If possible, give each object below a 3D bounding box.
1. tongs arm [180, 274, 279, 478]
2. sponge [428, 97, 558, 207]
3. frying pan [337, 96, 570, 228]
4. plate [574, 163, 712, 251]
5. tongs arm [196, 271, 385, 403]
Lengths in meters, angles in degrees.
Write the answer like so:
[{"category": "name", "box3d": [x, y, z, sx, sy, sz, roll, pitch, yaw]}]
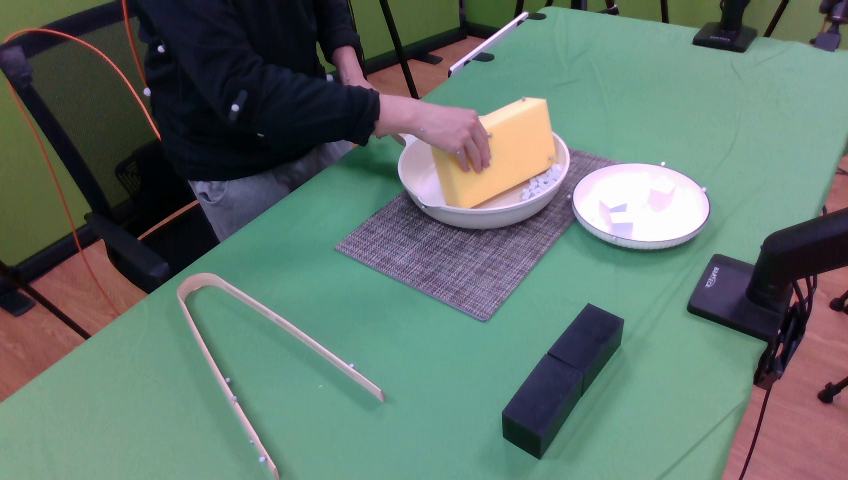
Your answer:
[{"category": "tongs arm", "box3d": [-0.259, 0.161, 0.807, 0.051, 0.026, 0.381, -28, 44, -25]}, {"category": "sponge", "box3d": [0.121, -0.148, 1.023, 0.207, 0.119, 0.060, -28, 27, -19]}, {"category": "frying pan", "box3d": [0.023, -0.167, 1.090, 0.484, 0.103, 0.308, 32, 52, 26]}, {"category": "plate", "box3d": [0.345, -0.050, 0.966, 0.207, 0.039, 0.206, -4, 40, 4]}, {"category": "tongs arm", "box3d": [-0.198, 0.125, 0.846, 0.384, 0.028, 0.028, 25, 52, 32]}]
